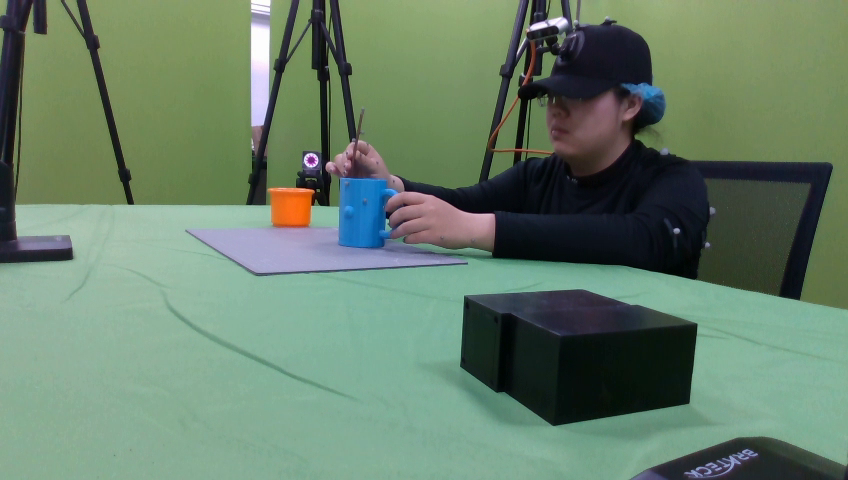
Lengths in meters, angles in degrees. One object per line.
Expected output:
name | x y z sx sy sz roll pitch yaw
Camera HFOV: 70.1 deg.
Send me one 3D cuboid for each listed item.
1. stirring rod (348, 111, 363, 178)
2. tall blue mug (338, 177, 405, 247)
stirring rod | -0.115 -0.119 0.967 0.006 0.176 0.014 10 4 -9
tall blue mug | -0.083 -0.045 0.973 0.107 0.108 0.078 2 6 0
